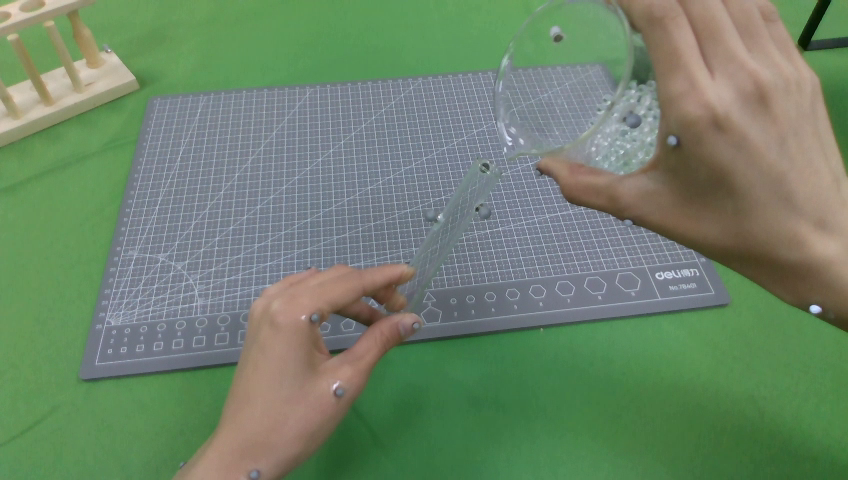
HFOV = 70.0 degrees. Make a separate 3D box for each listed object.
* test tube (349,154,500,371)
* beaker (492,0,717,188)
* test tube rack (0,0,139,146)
[{"bbox_3d":[-0.004,0.018,0.330,0.017,0.151,0.017,26,27,-13],"label":"test tube"},{"bbox_3d":[0.092,-0.067,0.305,0.101,0.084,0.073,10,34,-41],"label":"beaker"},{"bbox_3d":[-0.393,-0.135,0.529,0.242,0.086,0.066,-33,58,-23],"label":"test tube rack"}]
